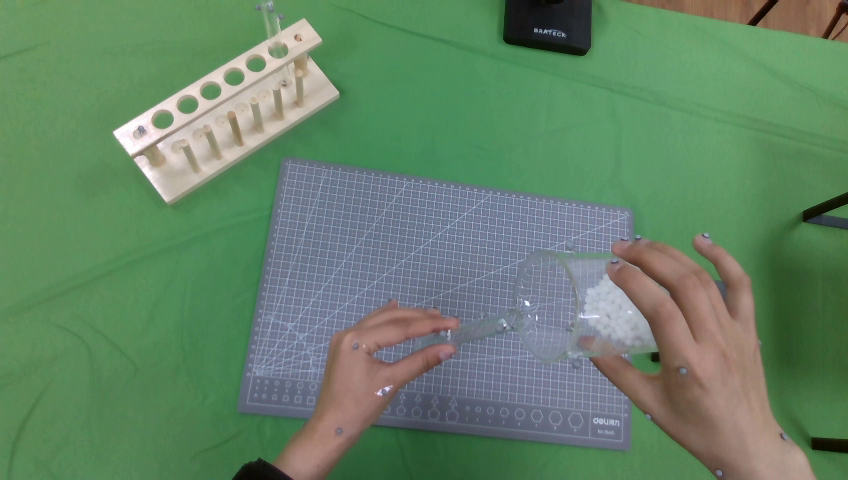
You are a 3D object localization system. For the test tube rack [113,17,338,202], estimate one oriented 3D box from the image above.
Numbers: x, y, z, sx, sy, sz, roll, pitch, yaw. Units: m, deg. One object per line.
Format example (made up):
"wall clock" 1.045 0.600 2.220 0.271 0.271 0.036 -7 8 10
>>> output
"test tube rack" -0.215 -0.149 0.694 0.242 0.085 0.066 -37 84 -16

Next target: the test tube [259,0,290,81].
"test tube" -0.163 -0.221 0.668 0.017 0.151 0.017 2 73 -5

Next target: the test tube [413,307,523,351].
"test tube" 0.030 0.075 0.492 0.017 0.150 0.017 9 70 -27

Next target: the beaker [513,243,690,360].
"beaker" 0.121 0.042 0.416 0.101 0.084 0.073 0 70 -23
